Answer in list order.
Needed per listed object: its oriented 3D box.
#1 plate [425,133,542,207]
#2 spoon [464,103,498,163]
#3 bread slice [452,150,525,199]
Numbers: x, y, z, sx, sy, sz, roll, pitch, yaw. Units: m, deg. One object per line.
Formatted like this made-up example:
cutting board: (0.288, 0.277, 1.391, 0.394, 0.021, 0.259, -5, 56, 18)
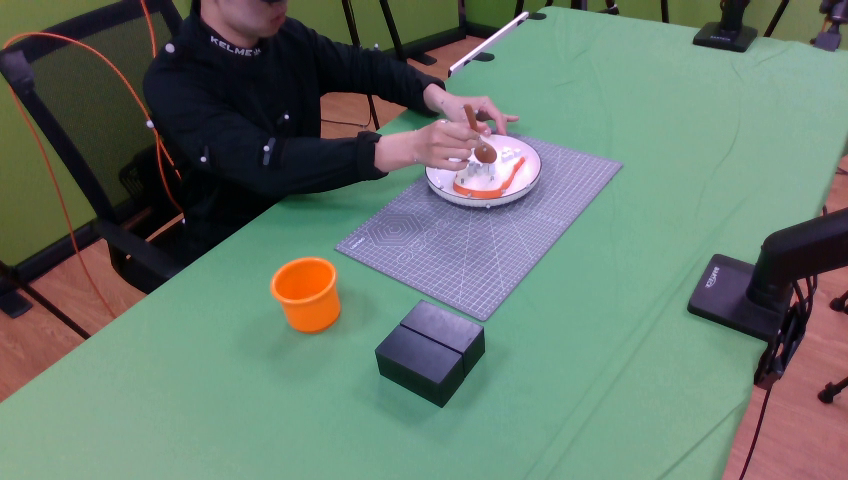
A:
plate: (0.105, -0.121, 1.079, 0.209, 0.038, 0.208, -4, 41, 4)
spoon: (0.090, -0.171, 0.989, 0.041, 0.195, 0.021, 4, 76, 16)
bread slice: (0.112, -0.118, 1.079, 0.104, 0.019, 0.131, 11, 43, 21)
